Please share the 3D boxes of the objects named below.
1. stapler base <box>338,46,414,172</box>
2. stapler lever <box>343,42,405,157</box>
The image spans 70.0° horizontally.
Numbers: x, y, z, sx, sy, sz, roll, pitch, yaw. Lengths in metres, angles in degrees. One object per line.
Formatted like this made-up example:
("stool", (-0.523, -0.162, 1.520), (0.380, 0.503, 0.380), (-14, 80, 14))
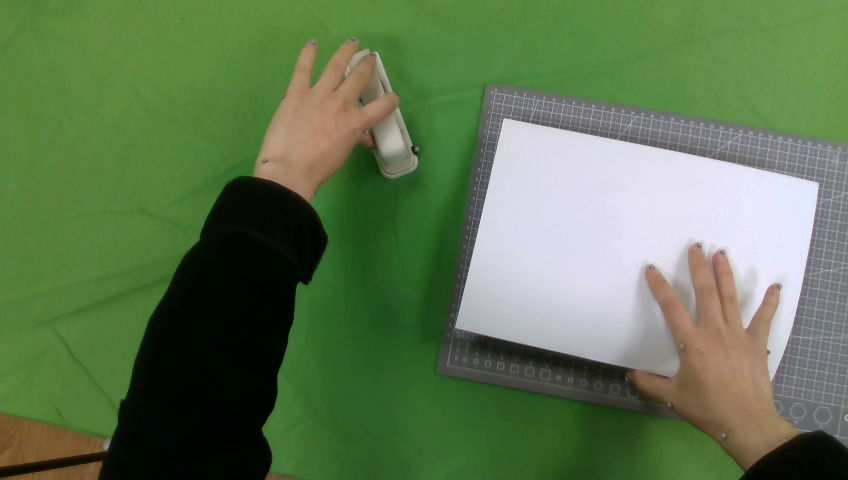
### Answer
("stapler base", (-0.048, -0.134, 0.608), (0.041, 0.024, 0.130), (-20, 86, -4))
("stapler lever", (-0.049, -0.137, 0.585), (0.027, 0.040, 0.118), (-20, 87, -4))
